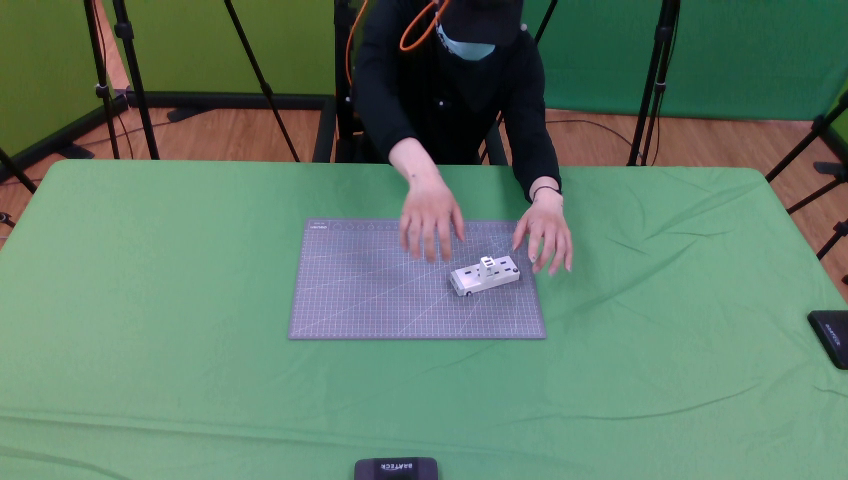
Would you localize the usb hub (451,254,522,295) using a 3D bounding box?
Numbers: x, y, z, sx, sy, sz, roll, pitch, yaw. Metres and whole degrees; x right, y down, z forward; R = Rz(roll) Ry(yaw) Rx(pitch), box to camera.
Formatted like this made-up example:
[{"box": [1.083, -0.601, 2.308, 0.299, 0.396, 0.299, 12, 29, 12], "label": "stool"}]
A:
[{"box": [0.117, 0.064, 1.133, 0.125, 0.025, 0.049, -15, 49, -16], "label": "usb hub"}]

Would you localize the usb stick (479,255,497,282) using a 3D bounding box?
[{"box": [0.115, 0.057, 1.099, 0.021, 0.059, 0.027, -14, 50, -21], "label": "usb stick"}]
